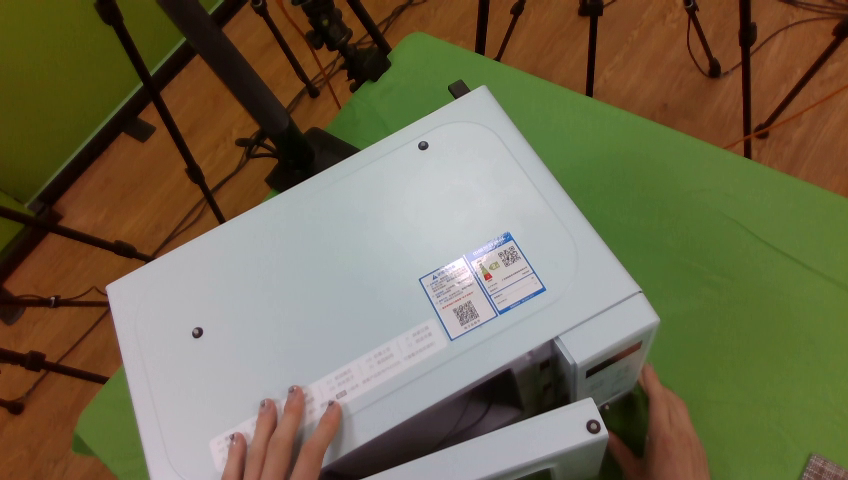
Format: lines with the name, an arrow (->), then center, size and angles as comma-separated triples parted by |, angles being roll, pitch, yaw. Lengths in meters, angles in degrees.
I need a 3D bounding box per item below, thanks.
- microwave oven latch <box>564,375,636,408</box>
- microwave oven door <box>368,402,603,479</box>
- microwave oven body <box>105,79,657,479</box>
microwave oven latch -> 0.196, 0.164, 0.676 | 0.079, 0.030, 0.030 | -27, 61, -1
microwave oven door -> -0.009, 0.244, 0.566 | 0.356, 0.246, 0.039 | -21, 60, 2
microwave oven body -> -0.044, 0.095, 0.656 | 0.442, 0.262, 0.322 | -29, 61, -2
